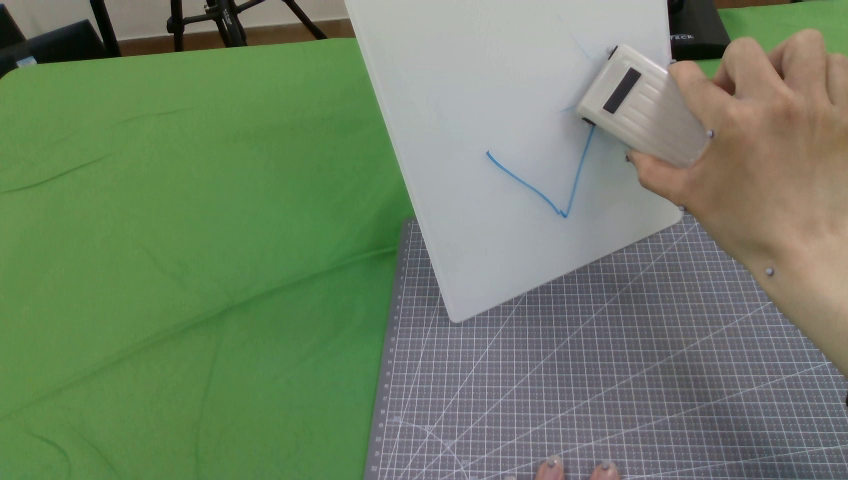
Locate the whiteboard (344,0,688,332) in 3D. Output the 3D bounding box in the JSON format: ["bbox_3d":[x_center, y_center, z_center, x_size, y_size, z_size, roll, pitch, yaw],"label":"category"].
[{"bbox_3d":[0.059,-0.125,0.470,0.217,0.308,0.142,-23,29,-9],"label":"whiteboard"}]

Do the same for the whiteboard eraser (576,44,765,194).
[{"bbox_3d":[0.164,-0.082,0.411,0.112,0.056,0.042,33,20,5],"label":"whiteboard eraser"}]
